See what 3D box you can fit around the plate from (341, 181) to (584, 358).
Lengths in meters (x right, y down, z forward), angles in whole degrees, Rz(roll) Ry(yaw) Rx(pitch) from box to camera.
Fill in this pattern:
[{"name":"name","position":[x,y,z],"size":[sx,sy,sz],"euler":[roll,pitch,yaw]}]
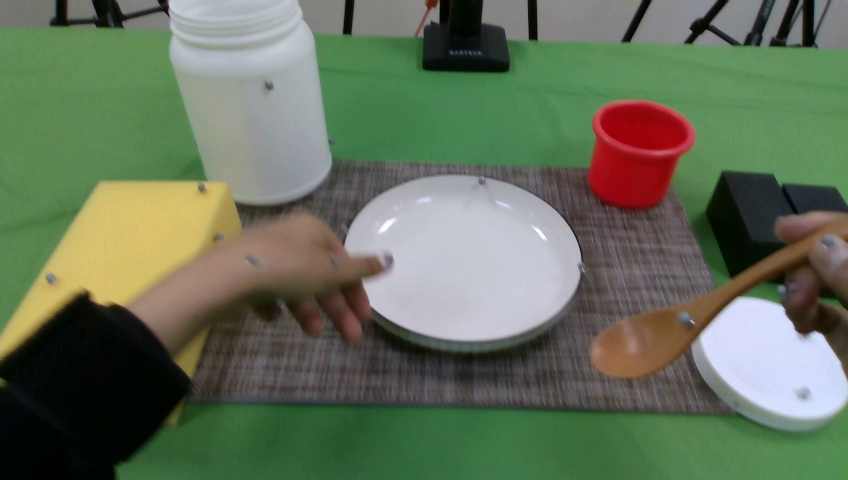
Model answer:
[{"name":"plate","position":[0.033,0.024,0.534],"size":[0.209,0.038,0.207],"euler":[1,43,-1]}]

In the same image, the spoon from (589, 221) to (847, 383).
[{"name":"spoon","position":[0.160,0.021,0.286],"size":[0.022,0.194,0.041],"euler":[37,37,-17]}]

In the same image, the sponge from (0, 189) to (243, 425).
[{"name":"sponge","position":[-0.234,0.044,0.490],"size":[0.118,0.061,0.205],"euler":[0,42,1]}]

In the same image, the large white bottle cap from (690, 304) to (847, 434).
[{"name":"large white bottle cap","position":[0.271,0.098,0.479],"size":[0.115,0.018,0.113],"euler":[3,43,-2]}]

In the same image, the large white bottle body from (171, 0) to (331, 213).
[{"name":"large white bottle body","position":[-0.165,-0.135,0.590],"size":[0.130,0.186,0.129],"euler":[0,41,0]}]
